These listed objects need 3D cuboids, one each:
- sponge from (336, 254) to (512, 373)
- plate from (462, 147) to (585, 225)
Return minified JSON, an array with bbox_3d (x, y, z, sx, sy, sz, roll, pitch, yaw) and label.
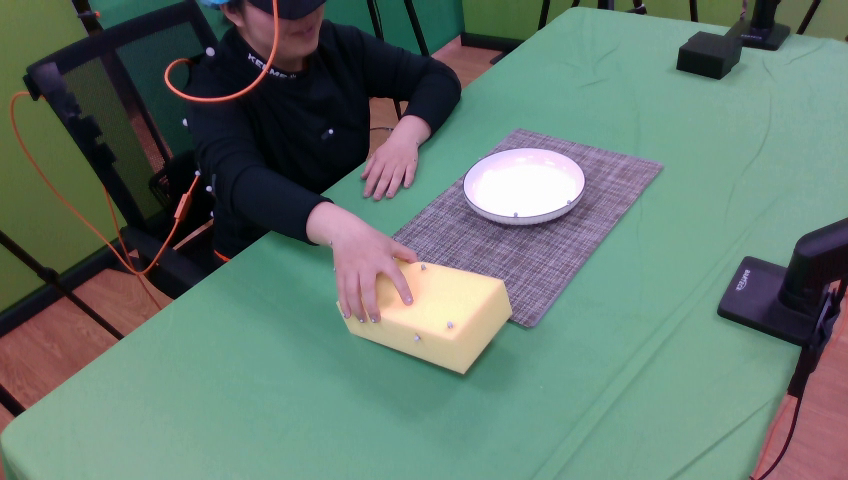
[{"bbox_3d":[-0.002,0.092,0.819,0.205,0.061,0.118,11,43,38],"label":"sponge"},{"bbox_3d":[0.170,-0.089,1.041,0.207,0.039,0.206,-5,40,5],"label":"plate"}]
